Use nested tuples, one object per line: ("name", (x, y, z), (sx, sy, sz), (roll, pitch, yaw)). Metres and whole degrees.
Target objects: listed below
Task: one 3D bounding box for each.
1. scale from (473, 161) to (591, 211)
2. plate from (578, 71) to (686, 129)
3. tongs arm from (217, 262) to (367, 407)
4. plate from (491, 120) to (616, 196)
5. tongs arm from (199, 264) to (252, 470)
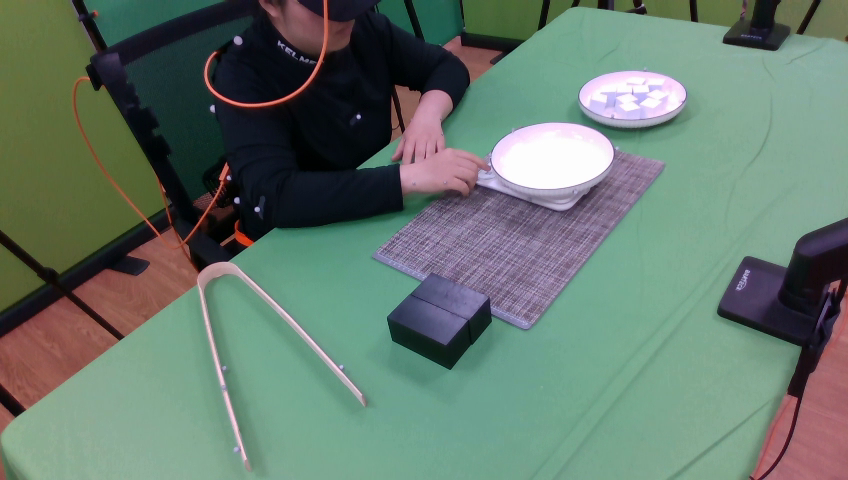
("scale", (0.202, -0.121, 1.074), (0.199, 0.032, 0.149), (23, 49, 33))
("plate", (0.416, -0.279, 1.222), (0.209, 0.038, 0.208), (-5, 41, 5))
("tongs arm", (-0.200, 0.122, 0.871), (0.028, 0.028, 0.384), (-36, 46, -24))
("plate", (0.221, -0.137, 1.038), (0.207, 0.039, 0.206), (-6, 41, 5))
("tongs arm", (-0.269, 0.154, 0.841), (0.051, 0.026, 0.381), (-23, 41, -17))
